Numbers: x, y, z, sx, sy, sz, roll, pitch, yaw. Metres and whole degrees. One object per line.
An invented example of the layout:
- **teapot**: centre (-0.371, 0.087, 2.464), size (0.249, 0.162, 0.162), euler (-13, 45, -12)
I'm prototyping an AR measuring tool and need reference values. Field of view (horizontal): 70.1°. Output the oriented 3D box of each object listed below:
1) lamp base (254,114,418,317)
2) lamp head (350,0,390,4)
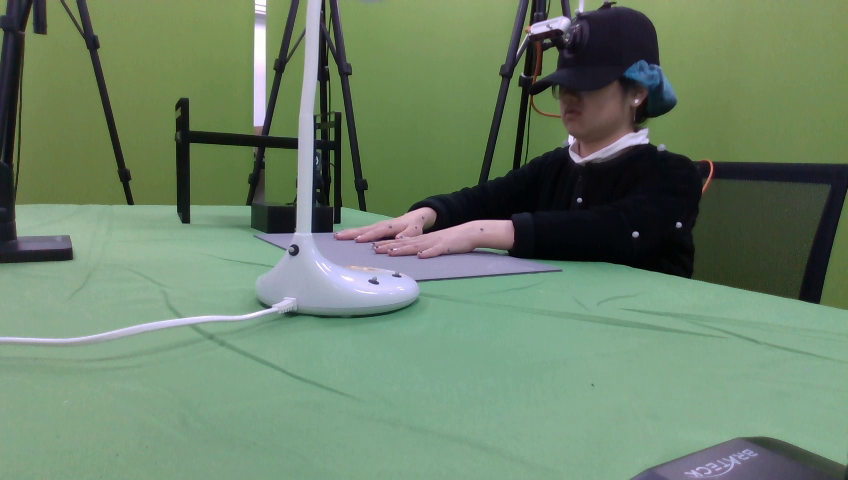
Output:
- **lamp base**: centre (-0.086, -0.027, 0.577), size (0.160, 0.180, 0.179), euler (4, 10, 16)
- **lamp head**: centre (-0.053, -0.313, 0.597), size (0.112, 0.112, 0.123), euler (6, -28, 25)
